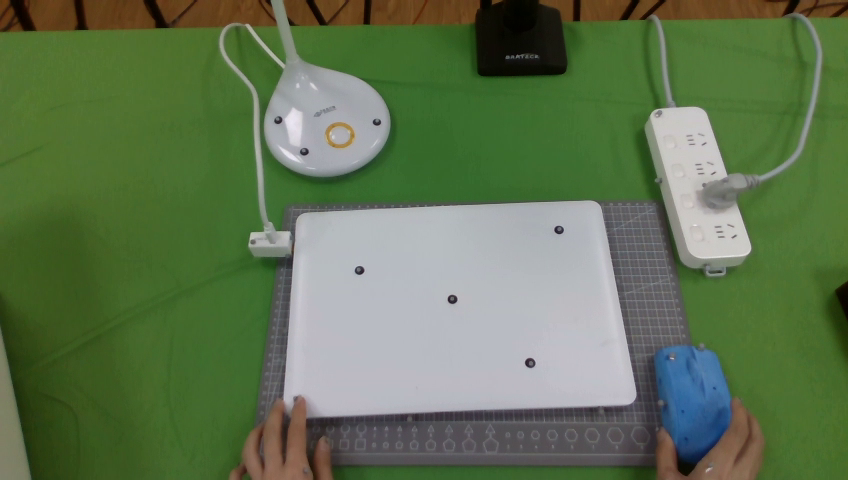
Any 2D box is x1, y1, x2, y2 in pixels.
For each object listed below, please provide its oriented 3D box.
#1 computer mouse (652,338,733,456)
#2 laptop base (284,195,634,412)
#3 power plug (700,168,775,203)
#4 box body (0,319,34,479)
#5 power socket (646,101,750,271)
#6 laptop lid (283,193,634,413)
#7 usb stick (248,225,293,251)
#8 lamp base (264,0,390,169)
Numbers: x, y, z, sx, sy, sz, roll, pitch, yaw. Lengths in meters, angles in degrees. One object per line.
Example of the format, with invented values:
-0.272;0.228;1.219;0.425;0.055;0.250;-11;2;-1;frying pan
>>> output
0.263;0.150;0.594;0.063;0.041;0.116;2;59;5;computer mouse
0.031;0.062;0.659;0.354;0.023;0.233;-3;66;0;laptop base
0.347;-0.056;0.677;0.072;0.053;0.035;7;62;4;power plug
-0.523;0.181;0.533;0.254;0.161;0.360;-25;65;-11;box body
0.317;-0.072;0.712;0.072;0.033;0.224;-2;63;-1;power socket
0.031;0.059;0.647;0.357;0.013;0.239;-1;65;1;laptop lid
-0.165;-0.002;0.683;0.059;0.027;0.021;2;58;0;usb stick
-0.134;-0.202;0.708;0.160;0.182;0.177;-37;64;-16;lamp base
